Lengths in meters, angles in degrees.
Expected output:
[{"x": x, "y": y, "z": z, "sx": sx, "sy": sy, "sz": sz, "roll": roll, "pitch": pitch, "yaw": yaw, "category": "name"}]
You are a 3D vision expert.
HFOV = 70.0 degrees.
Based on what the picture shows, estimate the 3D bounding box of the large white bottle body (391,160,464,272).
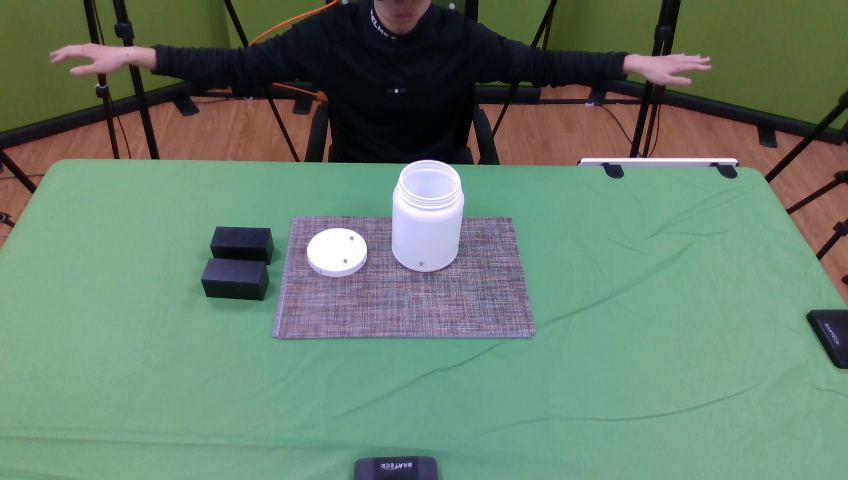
[{"x": 0.005, "y": -0.045, "z": 1.124, "sx": 0.131, "sy": 0.185, "sz": 0.130, "roll": 2, "pitch": 47, "yaw": -2, "category": "large white bottle body"}]

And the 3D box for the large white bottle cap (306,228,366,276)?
[{"x": -0.168, "y": 0.022, "z": 1.162, "sx": 0.115, "sy": 0.018, "sz": 0.114, "roll": 2, "pitch": 46, "yaw": -2, "category": "large white bottle cap"}]
